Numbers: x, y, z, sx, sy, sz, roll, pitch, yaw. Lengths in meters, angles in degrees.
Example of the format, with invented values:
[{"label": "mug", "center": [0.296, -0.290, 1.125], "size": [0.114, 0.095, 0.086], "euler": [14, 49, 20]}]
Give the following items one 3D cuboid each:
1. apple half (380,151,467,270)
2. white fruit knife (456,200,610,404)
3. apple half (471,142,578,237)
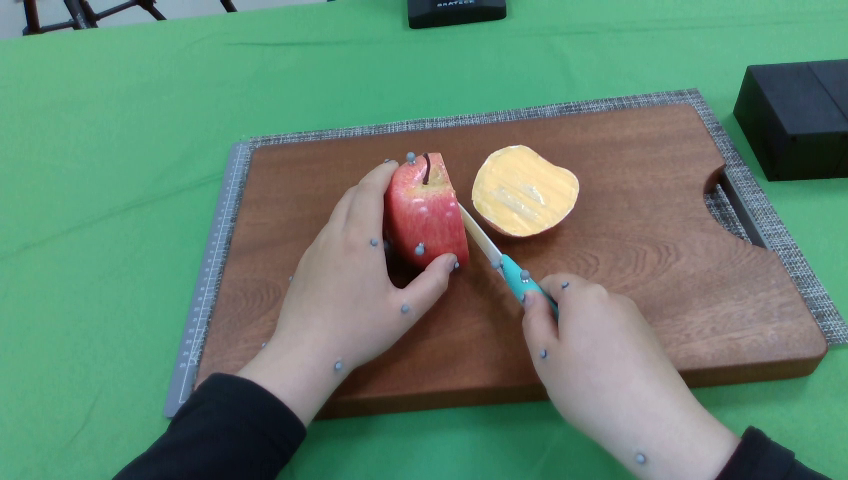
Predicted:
[{"label": "apple half", "center": [-0.003, -0.016, 0.428], "size": [0.053, 0.075, 0.080], "euler": [-15, 51, -1]}, {"label": "white fruit knife", "center": [0.057, 0.022, 0.406], "size": [0.016, 0.028, 0.205], "euler": [-23, 46, -14]}, {"label": "apple half", "center": [0.073, -0.031, 0.460], "size": [0.081, 0.033, 0.080], "euler": [-1, 63, 3]}]
